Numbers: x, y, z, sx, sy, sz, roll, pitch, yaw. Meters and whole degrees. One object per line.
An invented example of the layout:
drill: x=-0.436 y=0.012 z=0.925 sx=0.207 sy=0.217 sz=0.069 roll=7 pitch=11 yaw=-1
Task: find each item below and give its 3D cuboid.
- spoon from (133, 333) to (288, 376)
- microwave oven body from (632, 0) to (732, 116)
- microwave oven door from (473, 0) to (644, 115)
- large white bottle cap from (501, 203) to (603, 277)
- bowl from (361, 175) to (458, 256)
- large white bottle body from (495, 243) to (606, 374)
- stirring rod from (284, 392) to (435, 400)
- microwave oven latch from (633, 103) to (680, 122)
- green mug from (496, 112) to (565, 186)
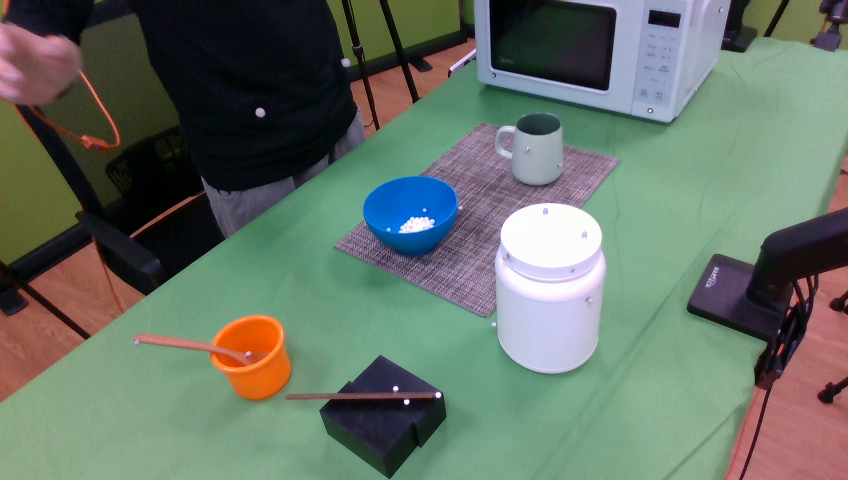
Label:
spoon: x=-0.257 y=0.137 z=0.747 sx=0.021 sy=0.195 sz=0.041 roll=-47 pitch=40 yaw=23
microwave oven body: x=0.377 y=-0.462 z=1.267 sx=0.438 sy=0.261 sz=0.327 roll=21 pitch=48 yaw=30
microwave oven door: x=0.257 y=-0.396 z=1.199 sx=0.353 sy=0.245 sz=0.039 roll=21 pitch=48 yaw=29
large white bottle cap: x=0.146 y=-0.002 z=0.693 sx=0.115 sy=0.018 sz=0.114 roll=-4 pitch=41 yaw=4
bowl: x=-0.019 y=-0.028 z=0.955 sx=0.151 sy=0.077 sz=0.150 roll=-4 pitch=40 yaw=4
large white bottle body: x=0.155 y=0.061 z=0.748 sx=0.130 sy=0.185 sz=0.130 roll=-4 pitch=40 yaw=4
stirring rod: x=-0.075 y=0.180 z=0.698 sx=0.176 sy=0.006 sz=0.014 roll=-2 pitch=6 yaw=6
microwave oven latch: x=0.443 y=-0.249 z=1.157 sx=0.078 sy=0.029 sz=0.030 roll=20 pitch=48 yaw=30
green mug: x=0.184 y=-0.161 z=1.061 sx=0.124 sy=0.105 sz=0.092 roll=15 pitch=46 yaw=24
